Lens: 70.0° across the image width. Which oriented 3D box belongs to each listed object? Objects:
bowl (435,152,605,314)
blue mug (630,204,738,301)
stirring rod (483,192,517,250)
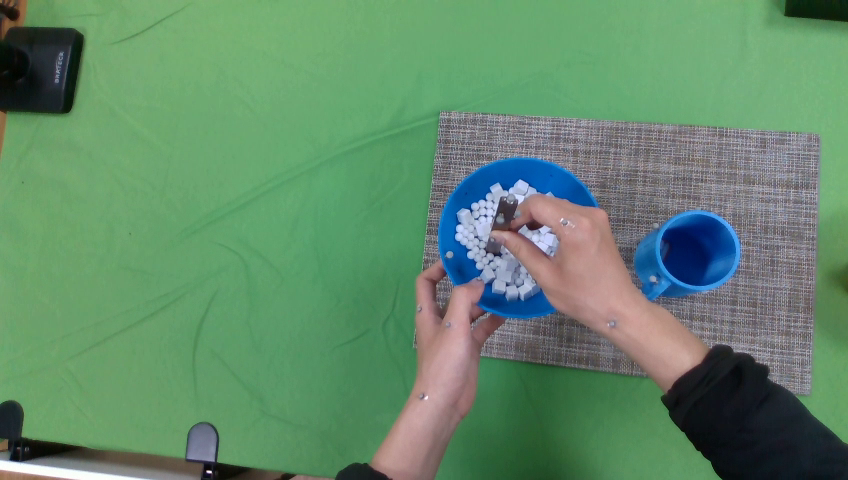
[{"bbox_3d":[0.089,0.000,0.577,0.151,0.077,0.150,-1,78,6],"label":"bowl"},{"bbox_3d":[0.268,0.023,0.658,0.082,0.106,0.116,44,90,11],"label":"blue mug"},{"bbox_3d":[0.062,-0.012,0.510,0.014,0.177,0.006,7,77,4],"label":"stirring rod"}]
